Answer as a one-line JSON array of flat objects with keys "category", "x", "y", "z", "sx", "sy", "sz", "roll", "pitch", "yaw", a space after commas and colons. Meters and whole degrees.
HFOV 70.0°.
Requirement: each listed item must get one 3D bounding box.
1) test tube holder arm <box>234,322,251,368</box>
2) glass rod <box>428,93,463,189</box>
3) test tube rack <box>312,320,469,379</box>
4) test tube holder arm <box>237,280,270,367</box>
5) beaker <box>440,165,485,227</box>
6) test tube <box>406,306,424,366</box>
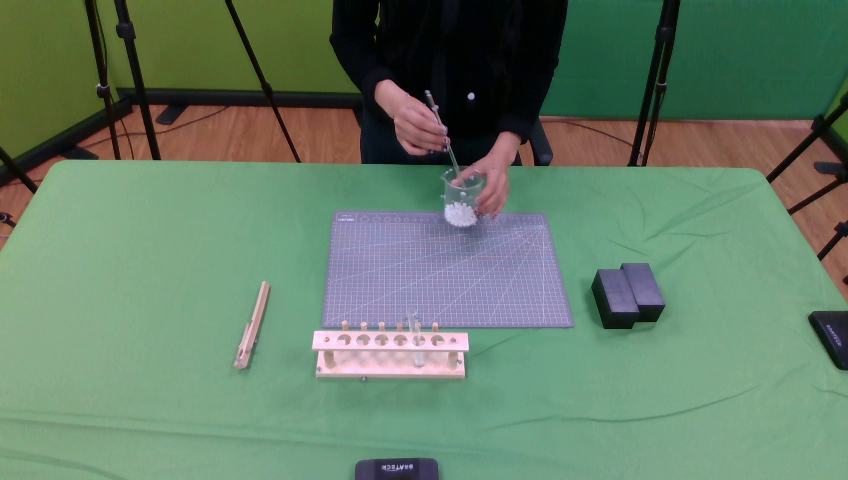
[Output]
[{"category": "test tube holder arm", "x": -0.299, "y": 0.173, "z": 1.013, "sx": 0.010, "sy": 0.015, "sz": 0.087, "roll": -16, "pitch": 42, "yaw": 22}, {"category": "glass rod", "x": 0.040, "y": -0.172, "z": 1.075, "sx": 0.008, "sy": 0.201, "sz": 0.008, "roll": -14, "pitch": 37, "yaw": 11}, {"category": "test tube rack", "x": -0.054, "y": 0.173, "z": 0.984, "sx": 0.242, "sy": 0.085, "sz": 0.066, "roll": 1, "pitch": 46, "yaw": -3}, {"category": "test tube holder arm", "x": -0.290, "y": 0.140, "z": 1.042, "sx": 0.013, "sy": 0.015, "sz": 0.177, "roll": -16, "pitch": 41, "yaw": 21}, {"category": "beaker", "x": 0.071, "y": -0.082, "z": 1.160, "sx": 0.084, "sy": 0.101, "sz": 0.073, "roll": 9, "pitch": 41, "yaw": 9}, {"category": "test tube", "x": -0.013, "y": 0.152, "z": 0.939, "sx": 0.017, "sy": 0.151, "sz": 0.017, "roll": -3, "pitch": 48, "yaw": 3}]
